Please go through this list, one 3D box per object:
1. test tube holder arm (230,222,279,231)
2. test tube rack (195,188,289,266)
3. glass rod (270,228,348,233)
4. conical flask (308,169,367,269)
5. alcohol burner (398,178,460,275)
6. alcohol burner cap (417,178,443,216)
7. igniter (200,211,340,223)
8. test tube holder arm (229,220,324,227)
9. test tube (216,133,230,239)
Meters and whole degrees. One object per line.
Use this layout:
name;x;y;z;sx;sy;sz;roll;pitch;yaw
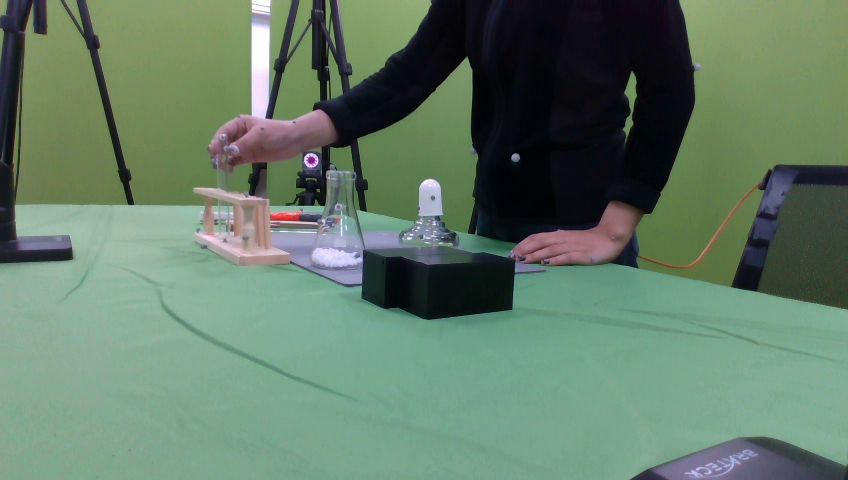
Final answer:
test tube holder arm;-0.312;-0.025;1.118;0.088;0.015;0.010;-1;45;-30
test tube rack;-0.266;-0.025;0.863;0.067;0.085;0.241;-2;9;-33
glass rod;-0.235;-0.018;1.104;0.201;0.008;0.008;1;7;-26
conical flask;-0.107;-0.028;0.762;0.075;0.122;0.075;2;7;0
alcohol burner;0.007;-0.017;0.750;0.078;0.119;0.078;3;9;0
alcohol burner cap;0.007;-0.053;0.745;0.034;0.048;0.034;-3;6;1
igniter;-0.311;-0.047;1.243;0.278;0.025;0.057;-1;-2;-24
test tube holder arm;-0.275;-0.030;1.145;0.179;0.015;0.013;-2;45;-31
test tube;-0.286;-0.076;0.861;0.017;0.150;0.017;1;7;0
